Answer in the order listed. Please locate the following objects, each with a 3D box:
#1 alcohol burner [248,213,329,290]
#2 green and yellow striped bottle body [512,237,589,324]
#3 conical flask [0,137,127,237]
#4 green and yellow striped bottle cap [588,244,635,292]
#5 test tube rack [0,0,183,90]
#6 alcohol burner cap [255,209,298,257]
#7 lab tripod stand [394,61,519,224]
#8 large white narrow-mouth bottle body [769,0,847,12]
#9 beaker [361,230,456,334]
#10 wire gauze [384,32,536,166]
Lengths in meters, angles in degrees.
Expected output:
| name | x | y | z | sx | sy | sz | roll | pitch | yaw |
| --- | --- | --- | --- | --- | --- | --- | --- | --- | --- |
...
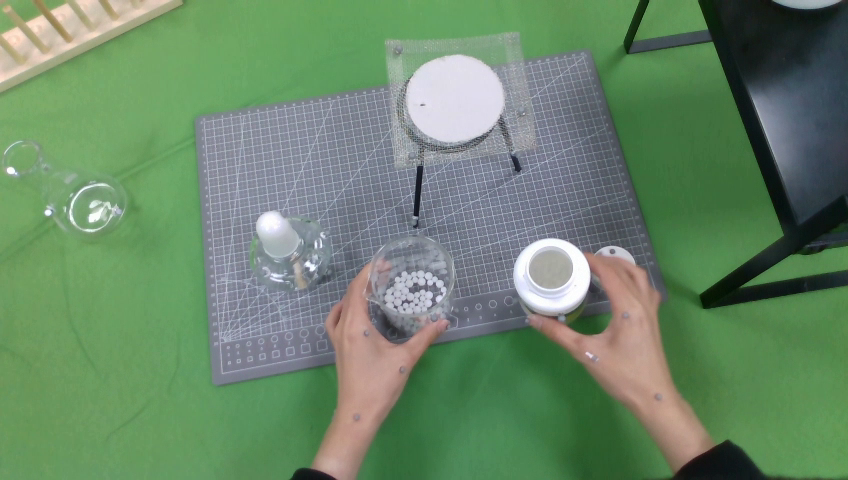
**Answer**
| name | x | y | z | sx | sy | sz | roll | pitch | yaw |
| --- | --- | --- | --- | --- | --- | --- | --- | --- | --- |
| alcohol burner | -0.130 | 0.005 | 0.566 | 0.078 | 0.120 | 0.077 | 0 | 69 | 1 |
| green and yellow striped bottle body | 0.110 | 0.036 | 0.526 | 0.063 | 0.120 | 0.063 | -3 | 75 | 12 |
| conical flask | -0.356 | -0.056 | 0.592 | 0.075 | 0.122 | 0.075 | -1 | 71 | 2 |
| green and yellow striped bottle cap | 0.185 | 0.027 | 0.599 | 0.045 | 0.020 | 0.045 | -1 | 71 | 4 |
| test tube rack | -0.413 | -0.267 | 0.685 | 0.242 | 0.086 | 0.066 | -29 | 73 | -8 |
| alcohol burner cap | -0.132 | -0.009 | 0.532 | 0.034 | 0.048 | 0.033 | 0 | 64 | 0 |
| lab tripod stand | 0.025 | -0.098 | 0.585 | 0.148 | 0.132 | 0.147 | 0 | 70 | 1 |
| large white narrow-mouth bottle body | 0.305 | -0.258 | 0.411 | 0.102 | 0.196 | 0.101 | -1 | 69 | 2 |
| beaker | -0.012 | 0.045 | 0.556 | 0.084 | 0.101 | 0.073 | -22 | 71 | -5 |
| wire gauze | 0.030 | -0.126 | 0.522 | 0.121 | 0.011 | 0.124 | -5 | 72 | -1 |
